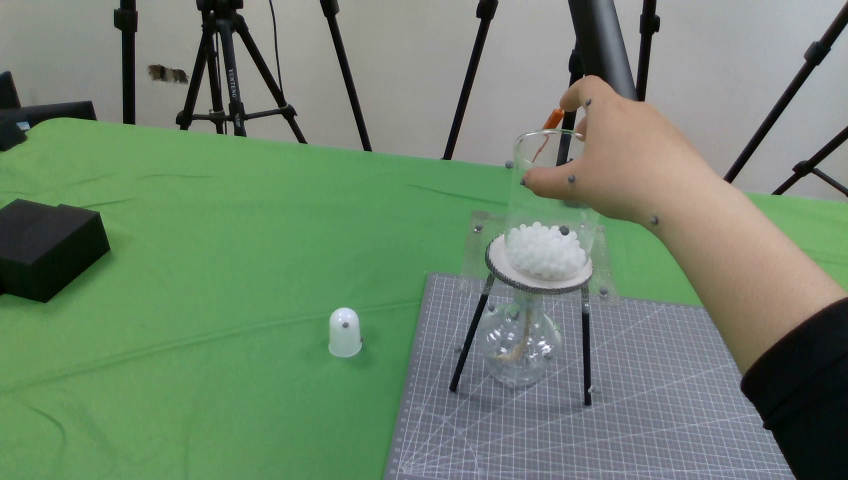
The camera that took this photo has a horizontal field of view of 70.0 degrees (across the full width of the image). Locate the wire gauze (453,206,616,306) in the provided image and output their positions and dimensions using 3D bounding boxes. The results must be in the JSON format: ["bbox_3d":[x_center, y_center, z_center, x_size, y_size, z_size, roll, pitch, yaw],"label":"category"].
[{"bbox_3d":[0.091,0.012,0.498,0.121,0.011,0.124,6,37,6],"label":"wire gauze"}]

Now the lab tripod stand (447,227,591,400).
[{"bbox_3d":[0.088,0.063,0.540,0.148,0.132,0.147,2,34,-1],"label":"lab tripod stand"}]

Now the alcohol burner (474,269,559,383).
[{"bbox_3d":[0.086,0.072,0.545,0.078,0.120,0.077,4,37,-3],"label":"alcohol burner"}]

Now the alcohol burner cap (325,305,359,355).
[{"bbox_3d":[-0.078,0.083,0.578,0.034,0.048,0.033,4,37,-2],"label":"alcohol burner cap"}]

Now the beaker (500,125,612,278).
[{"bbox_3d":[0.098,-0.026,0.469,0.074,0.101,0.083,7,35,7],"label":"beaker"}]
